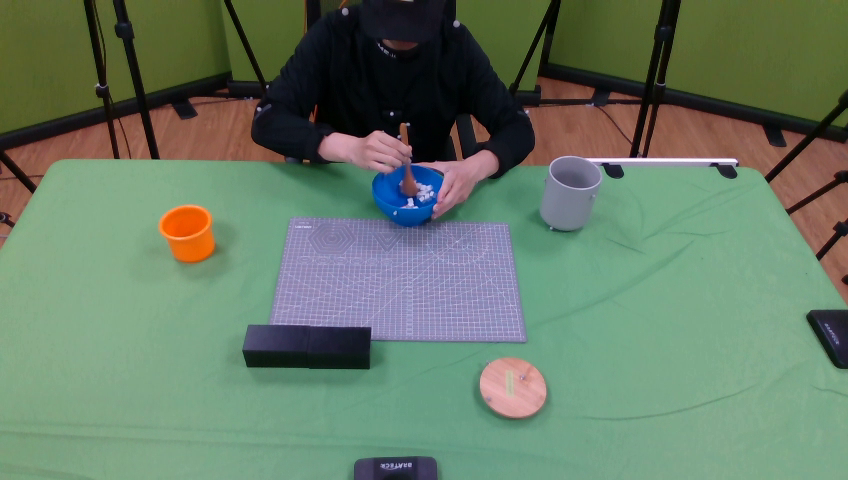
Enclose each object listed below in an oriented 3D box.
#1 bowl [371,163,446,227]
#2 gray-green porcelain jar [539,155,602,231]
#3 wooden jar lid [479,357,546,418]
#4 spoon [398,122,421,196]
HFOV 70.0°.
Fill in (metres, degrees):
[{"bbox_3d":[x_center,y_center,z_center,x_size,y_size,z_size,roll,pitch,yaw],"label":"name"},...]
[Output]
[{"bbox_3d":[-0.034,-0.081,1.231,0.151,0.077,0.150,3,43,-3],"label":"bowl"},{"bbox_3d":[0.294,-0.091,1.235,0.106,0.127,0.105,2,46,-2],"label":"gray-green porcelain jar"},{"bbox_3d":[0.142,0.240,0.979,0.108,0.021,0.107,1,46,-1],"label":"wooden jar lid"},{"bbox_3d":[-0.035,-0.155,1.186,0.041,0.195,0.021,5,47,12],"label":"spoon"}]
